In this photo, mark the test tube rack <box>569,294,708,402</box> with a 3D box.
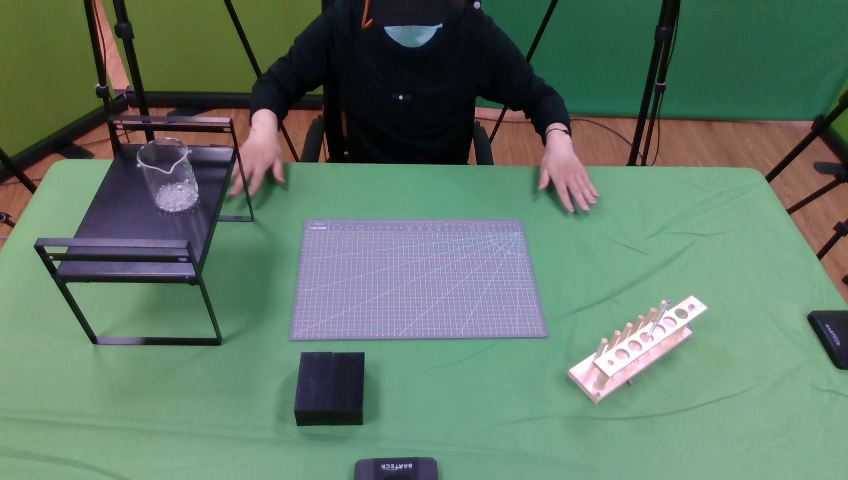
[{"bbox_3d":[0.360,0.167,1.014,0.242,0.085,0.066,-25,53,-25],"label":"test tube rack"}]

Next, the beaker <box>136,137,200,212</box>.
[{"bbox_3d":[-0.399,-0.098,0.957,0.074,0.101,0.083,-19,51,-20],"label":"beaker"}]

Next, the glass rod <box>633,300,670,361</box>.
[{"bbox_3d":[0.351,0.144,0.944,0.008,0.201,0.008,-1,55,1],"label":"glass rod"}]
